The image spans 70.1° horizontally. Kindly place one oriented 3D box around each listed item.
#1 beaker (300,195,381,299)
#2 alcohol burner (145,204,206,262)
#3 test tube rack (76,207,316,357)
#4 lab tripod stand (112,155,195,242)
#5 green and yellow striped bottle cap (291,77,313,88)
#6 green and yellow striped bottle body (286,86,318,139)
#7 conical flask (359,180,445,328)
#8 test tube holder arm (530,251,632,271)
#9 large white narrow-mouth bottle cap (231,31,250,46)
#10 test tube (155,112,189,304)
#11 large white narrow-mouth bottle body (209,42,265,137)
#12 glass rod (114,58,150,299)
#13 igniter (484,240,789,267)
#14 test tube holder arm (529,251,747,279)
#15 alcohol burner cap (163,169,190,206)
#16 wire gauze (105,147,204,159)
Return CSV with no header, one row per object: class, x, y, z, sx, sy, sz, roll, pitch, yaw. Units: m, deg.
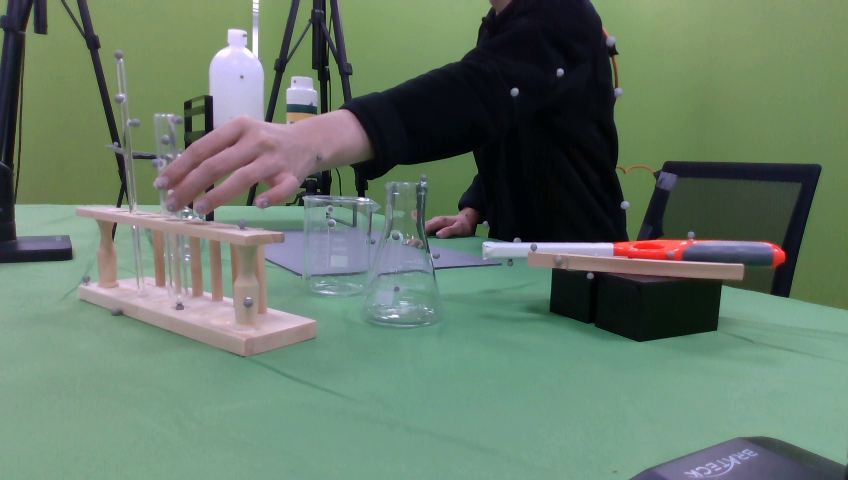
beaker,-0.087,0.006,0.626,0.084,0.100,0.074,1,8,-17
alcohol burner,-0.321,-0.032,0.788,0.078,0.119,0.078,0,7,0
test tube rack,-0.196,0.023,0.499,0.241,0.085,0.067,7,9,36
lab tripod stand,-0.405,-0.064,0.931,0.148,0.131,0.148,1,6,0
green and yellow striped bottle cap,-0.250,-0.321,1.237,0.045,0.020,0.045,3,5,0
green and yellow striped bottle body,-0.251,-0.270,1.245,0.063,0.119,0.063,3,7,0
conical flask,-0.017,0.010,0.522,0.075,0.122,0.075,2,7,0
test tube holder arm,0.139,0.019,0.538,0.087,0.015,0.010,3,8,13
large white narrow-mouth bottle cap,-0.354,-0.388,1.168,0.038,0.024,0.037,4,5,0
test tube,-0.196,-0.023,0.472,0.017,0.150,0.017,0,10,0
large white narrow-mouth bottle body,-0.361,-0.303,1.175,0.102,0.194,0.102,4,5,0
glass rod,-0.237,-0.044,0.492,0.008,0.199,0.008,1,15,0
igniter,0.197,0.012,0.585,0.276,0.025,0.057,1,5,11
test tube holder arm,0.182,0.022,0.523,0.178,0.015,0.013,3,8,12
alcohol burner cap,-0.321,-0.067,0.782,0.034,0.048,0.034,1,7,0
wire gauze,-0.408,-0.131,0.929,0.125,0.011,0.121,2,6,-11
